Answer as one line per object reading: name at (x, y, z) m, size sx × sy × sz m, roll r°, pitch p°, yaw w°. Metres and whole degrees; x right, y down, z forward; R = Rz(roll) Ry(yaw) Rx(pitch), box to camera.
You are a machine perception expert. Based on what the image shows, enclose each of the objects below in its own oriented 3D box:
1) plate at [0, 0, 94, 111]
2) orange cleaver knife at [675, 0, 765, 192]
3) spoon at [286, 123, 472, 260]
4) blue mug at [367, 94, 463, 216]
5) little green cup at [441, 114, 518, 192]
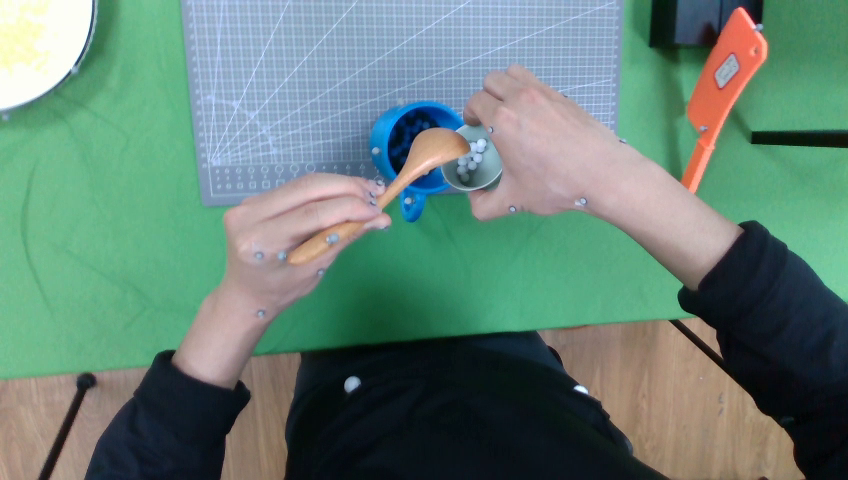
plate at (-0.394, -0.216, 0.519) m, size 0.210 × 0.038 × 0.210 m, roll -3°, pitch 103°, yaw -11°
orange cleaver knife at (0.308, -0.150, 0.660) m, size 0.012 × 0.076 × 0.213 m, roll -6°, pitch 134°, yaw -11°
spoon at (-0.024, -0.038, 0.417) m, size 0.041 × 0.193 × 0.022 m, roll 30°, pitch 139°, yaw 18°
blue mug at (-0.011, -0.082, 0.594) m, size 0.082 × 0.105 × 0.117 m, roll 4°, pitch 101°, yaw -13°
little green cup at (0.048, -0.070, 0.510) m, size 0.061 × 0.061 × 0.039 m, roll -56°, pitch 149°, yaw 4°
